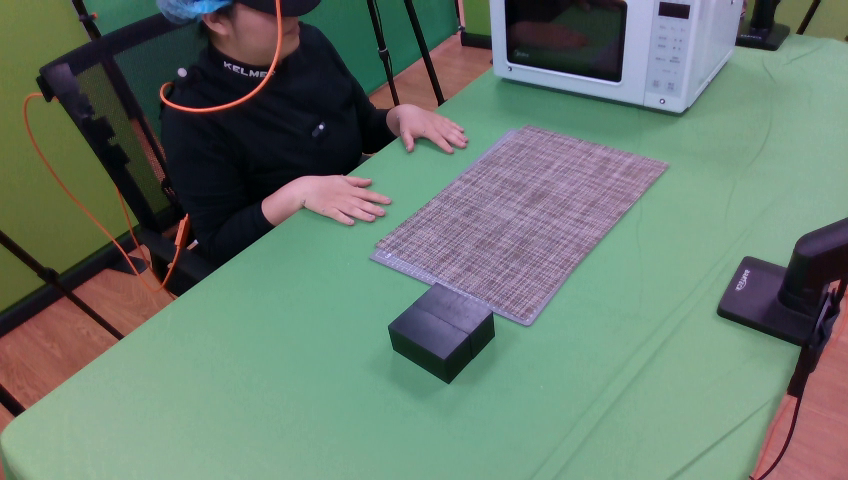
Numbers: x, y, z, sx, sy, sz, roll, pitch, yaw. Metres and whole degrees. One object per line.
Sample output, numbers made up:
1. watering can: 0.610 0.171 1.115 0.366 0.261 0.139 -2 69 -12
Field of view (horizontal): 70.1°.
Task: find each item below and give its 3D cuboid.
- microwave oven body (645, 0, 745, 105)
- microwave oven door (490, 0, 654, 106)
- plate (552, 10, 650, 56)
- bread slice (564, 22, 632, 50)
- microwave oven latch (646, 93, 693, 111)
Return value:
1. microwave oven body: 0.416 -0.486 1.290 0.438 0.261 0.327 21 50 33
2. microwave oven door: 0.292 -0.420 1.228 0.353 0.245 0.039 22 49 32
3. plate: 0.390 -0.455 1.339 0.209 0.038 0.208 -5 39 5
4. bread slice: 0.394 -0.454 1.344 0.105 0.019 0.130 -36 43 -26
5. microwave oven latch: 0.477 -0.273 1.177 0.078 0.029 0.030 22 50 33
